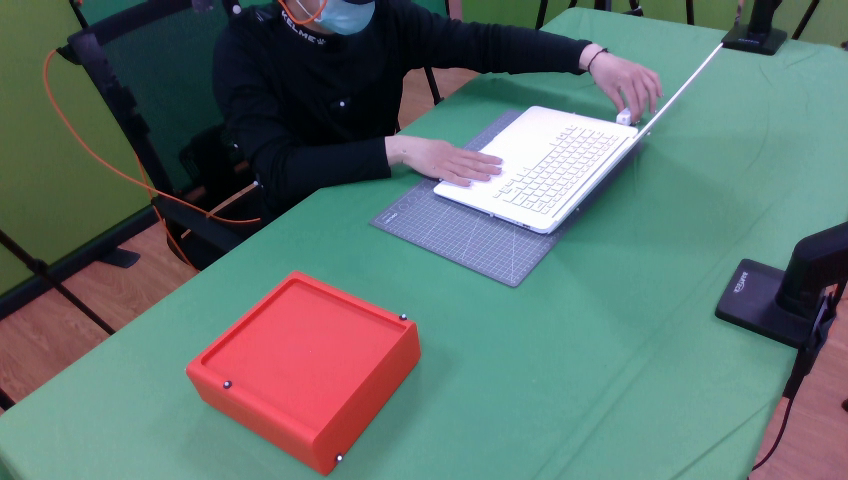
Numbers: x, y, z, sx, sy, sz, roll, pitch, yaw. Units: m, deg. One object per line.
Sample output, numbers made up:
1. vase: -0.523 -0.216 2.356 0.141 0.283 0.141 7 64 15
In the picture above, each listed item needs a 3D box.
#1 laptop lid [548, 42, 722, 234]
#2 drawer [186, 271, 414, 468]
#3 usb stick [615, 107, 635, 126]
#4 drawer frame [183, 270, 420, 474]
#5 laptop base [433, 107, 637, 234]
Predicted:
1. laptop lid: 0.335 -0.160 0.955 0.013 0.241 0.358 42 54 8
2. drawer: -0.150 0.153 0.768 0.210 0.073 0.195 20 46 28
3. usb stick: 0.387 -0.234 1.173 0.021 0.027 0.059 25 52 32
4. drawer frame: -0.148 0.153 0.767 0.212 0.083 0.202 20 46 27
5. laptop base: 0.210 -0.142 1.111 0.233 0.023 0.355 21 48 33
